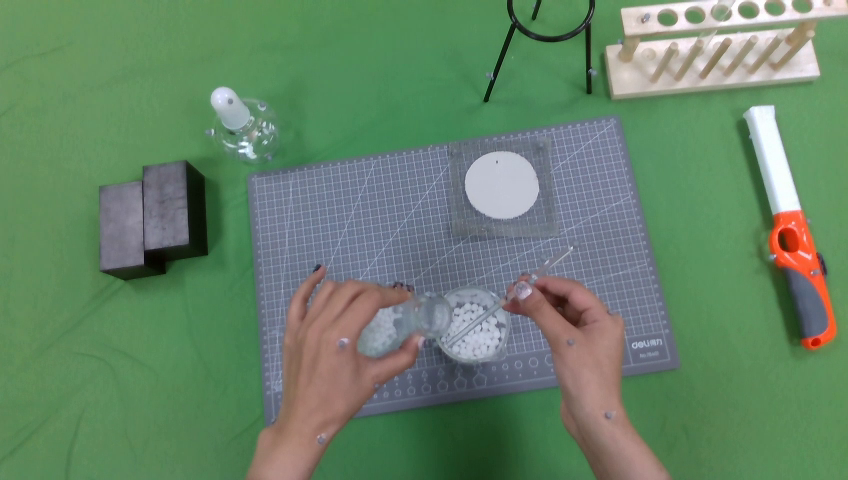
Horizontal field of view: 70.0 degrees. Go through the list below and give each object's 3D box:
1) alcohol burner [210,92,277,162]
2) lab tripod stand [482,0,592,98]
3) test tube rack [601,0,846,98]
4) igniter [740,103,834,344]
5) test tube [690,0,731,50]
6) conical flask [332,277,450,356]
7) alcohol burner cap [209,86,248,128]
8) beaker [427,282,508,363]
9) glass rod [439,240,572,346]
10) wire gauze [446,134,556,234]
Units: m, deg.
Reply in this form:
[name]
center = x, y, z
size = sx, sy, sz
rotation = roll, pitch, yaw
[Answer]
[alcohol burner]
center = -0.210, -0.135, 0.687
size = 0.078, 0.120, 0.077
rotation = -1, 77, 5
[lab tripod stand]
center = 0.129, -0.227, 0.682
size = 0.148, 0.132, 0.147
rotation = -1, 78, 3
[test tube rack]
center = 0.337, -0.225, 0.695
size = 0.242, 0.085, 0.066
rotation = -5, 75, 2
[igniter]
center = 0.401, -0.024, 0.672
size = 0.057, 0.025, 0.275
rotation = -5, 76, -8
[test tube]
center = 0.316, -0.250, 0.652
size = 0.017, 0.151, 0.017
rotation = -1, 75, 6
[conical flask]
center = -0.025, 0.067, 0.540
size = 0.076, 0.121, 0.075
rotation = 5, 80, -33
[alcohol burner cap]
center = -0.213, -0.147, 0.653
size = 0.034, 0.048, 0.033
rotation = -1, 69, 3
[beaker]
center = 0.048, 0.090, 0.622
size = 0.074, 0.101, 0.083
rotation = -45, 78, -7
[glass rod]
center = 0.065, 0.053, 0.538
size = 0.008, 0.200, 0.008
rotation = 18, 50, -23
[wire gauze]
center = 0.089, -0.065, 0.706
size = 0.125, 0.011, 0.121
rotation = -1, 76, 0
